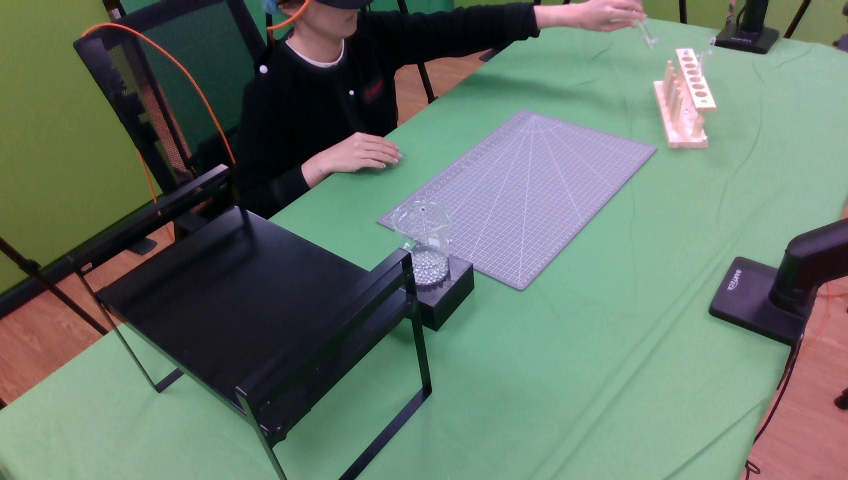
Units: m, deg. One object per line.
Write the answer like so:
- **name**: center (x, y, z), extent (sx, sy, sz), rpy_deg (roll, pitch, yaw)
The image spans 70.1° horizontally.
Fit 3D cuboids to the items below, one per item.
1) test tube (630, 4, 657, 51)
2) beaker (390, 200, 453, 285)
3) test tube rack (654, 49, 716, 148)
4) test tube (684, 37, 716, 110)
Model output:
- **test tube**: center (0.437, -0.428, 1.209), extent (0.017, 0.017, 0.149), rpy_deg (-5, 52, 2)
- **beaker**: center (0.002, 0.006, 0.831), extent (0.084, 0.101, 0.074), rpy_deg (5, 42, 13)
- **test tube rack**: center (0.502, -0.281, 1.176), extent (0.066, 0.085, 0.241), rpy_deg (2, 41, 11)
- **test tube**: center (0.513, -0.306, 1.126), extent (0.017, 0.151, 0.017), rpy_deg (-1, 48, 1)
